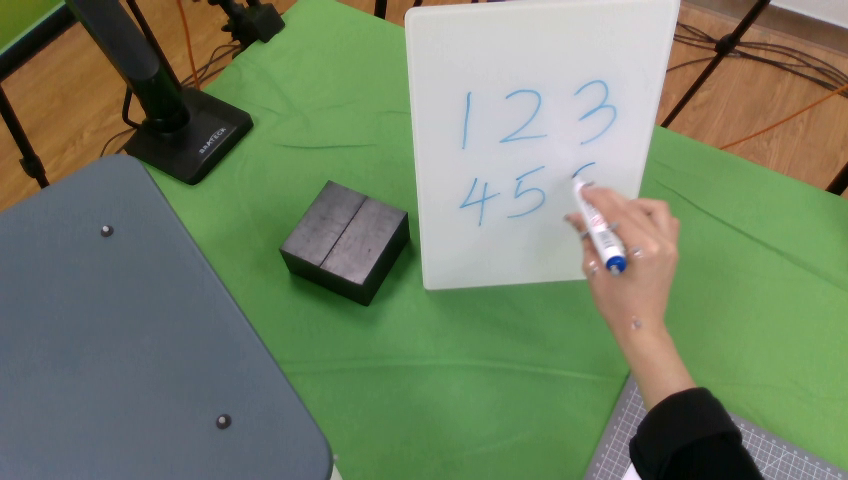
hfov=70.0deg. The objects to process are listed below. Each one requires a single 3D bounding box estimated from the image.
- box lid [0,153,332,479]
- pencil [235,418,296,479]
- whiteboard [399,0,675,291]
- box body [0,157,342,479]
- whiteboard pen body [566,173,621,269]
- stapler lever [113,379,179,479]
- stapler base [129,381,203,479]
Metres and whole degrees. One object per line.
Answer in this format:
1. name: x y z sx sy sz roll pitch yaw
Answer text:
1. box lid: -0.268 0.103 0.455 0.263 0.015 0.368 -34 66 -17
2. pencil: -0.183 0.235 0.541 0.012 0.012 0.193 30 53 18
3. whiteboard: 0.093 -0.113 0.613 0.217 0.308 0.142 -4 40 0
4. box body: -0.265 0.142 0.519 0.254 0.162 0.361 -35 65 -17
5. whiteboard pen body: 0.140 -0.022 0.516 0.017 0.017 0.139 -4 36 -1
6. stapler lever: -0.252 0.182 0.538 0.026 0.040 0.117 0 60 22
7. stapler base: -0.246 0.192 0.558 0.041 0.025 0.129 0 62 22
